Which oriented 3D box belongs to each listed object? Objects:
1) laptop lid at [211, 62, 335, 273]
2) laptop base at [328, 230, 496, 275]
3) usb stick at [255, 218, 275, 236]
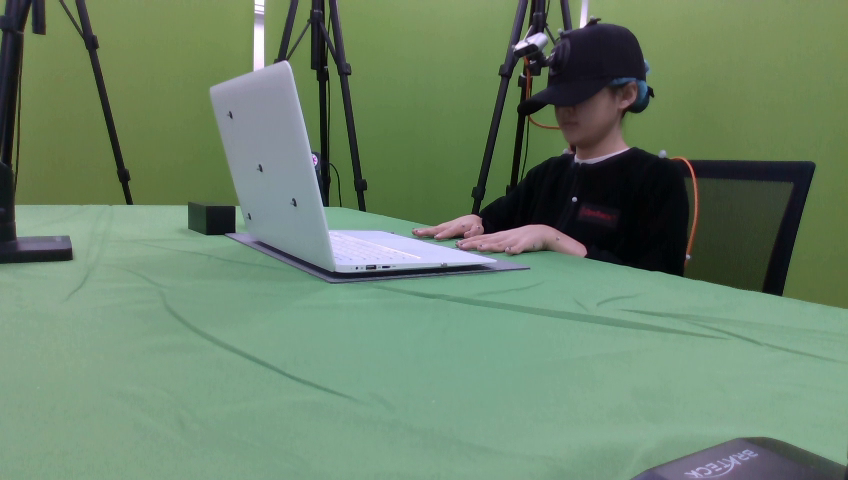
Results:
[{"bbox_3d":[-0.211,-0.095,0.791,0.013,0.241,0.355,-18,18,-29],"label":"laptop lid"},{"bbox_3d":[-0.091,0.016,0.884,0.237,0.023,0.352,3,6,-32],"label":"laptop base"},{"bbox_3d":[-0.262,-0.021,1.003,0.021,0.027,0.059,-1,11,-33],"label":"usb stick"}]
